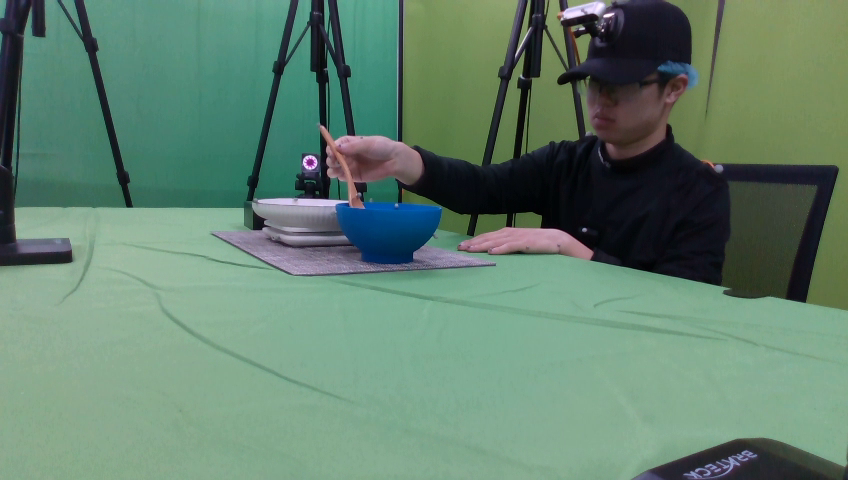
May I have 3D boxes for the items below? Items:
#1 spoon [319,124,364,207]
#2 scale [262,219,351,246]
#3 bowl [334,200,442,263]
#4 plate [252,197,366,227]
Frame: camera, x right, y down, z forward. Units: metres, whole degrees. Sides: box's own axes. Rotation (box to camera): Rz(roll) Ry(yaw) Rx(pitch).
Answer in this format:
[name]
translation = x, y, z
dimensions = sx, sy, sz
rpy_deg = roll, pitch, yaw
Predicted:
[spoon]
translation = -0.117, -0.100, 0.898
dimensions = 0.021, 0.193, 0.042
rpy_deg = -33, -24, 23
[scale]
translation = -0.160, -0.015, 1.027
dimensions = 0.202, 0.031, 0.148
rpy_deg = -2, 8, -32
[bowl]
translation = -0.051, -0.012, 0.849
dimensions = 0.151, 0.077, 0.151
rpy_deg = 2, 7, 0
[plate]
translation = -0.178, -0.047, 1.012
dimensions = 0.209, 0.038, 0.209
rpy_deg = 2, 6, 0
